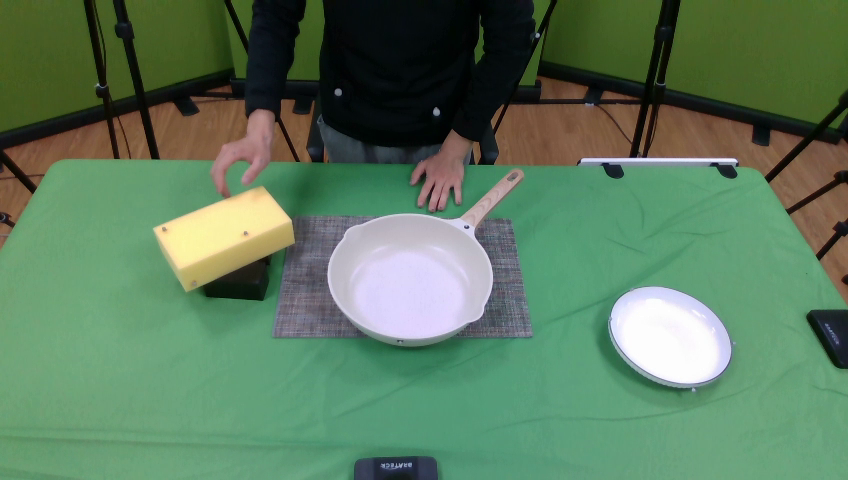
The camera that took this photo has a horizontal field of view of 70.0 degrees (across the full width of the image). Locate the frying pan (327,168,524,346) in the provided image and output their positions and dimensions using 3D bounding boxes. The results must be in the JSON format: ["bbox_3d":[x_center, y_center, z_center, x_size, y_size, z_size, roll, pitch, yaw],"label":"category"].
[{"bbox_3d":[0.042,0.009,1.132,0.305,0.103,0.487,34,61,24],"label":"frying pan"}]

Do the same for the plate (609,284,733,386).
[{"bbox_3d":[0.425,0.167,1.059,0.208,0.039,0.206,2,46,-2],"label":"plate"}]

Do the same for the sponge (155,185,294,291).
[{"bbox_3d":[-0.353,-0.008,1.085,0.207,0.061,0.117,-28,54,-27],"label":"sponge"}]
